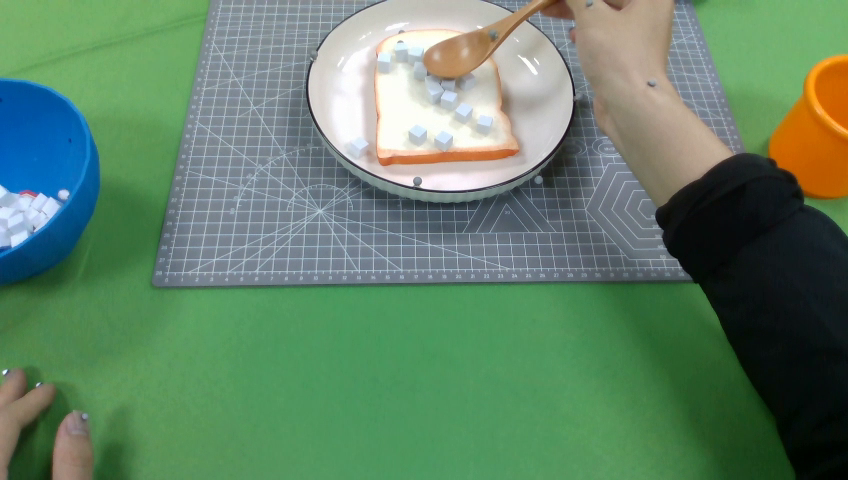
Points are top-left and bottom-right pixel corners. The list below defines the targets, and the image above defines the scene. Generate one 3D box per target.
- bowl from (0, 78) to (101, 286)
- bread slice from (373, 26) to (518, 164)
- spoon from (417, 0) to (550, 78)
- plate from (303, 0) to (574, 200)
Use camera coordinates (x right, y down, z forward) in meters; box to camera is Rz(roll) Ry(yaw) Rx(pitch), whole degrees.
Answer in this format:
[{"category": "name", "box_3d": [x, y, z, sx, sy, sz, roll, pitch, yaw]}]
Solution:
[{"category": "bowl", "box_3d": [-0.281, -0.024, 0.398, 0.151, 0.077, 0.150, 1, 60, -2]}, {"category": "bread slice", "box_3d": [0.008, -0.118, 0.487, 0.107, 0.018, 0.133, -7, 63, -6]}, {"category": "spoon", "box_3d": [0.083, -0.173, 0.450, 0.193, 0.022, 0.041, -28, 56, 13]}, {"category": "plate", "box_3d": [0.011, -0.115, 0.483, 0.209, 0.038, 0.207, 1, 61, -1]}]
